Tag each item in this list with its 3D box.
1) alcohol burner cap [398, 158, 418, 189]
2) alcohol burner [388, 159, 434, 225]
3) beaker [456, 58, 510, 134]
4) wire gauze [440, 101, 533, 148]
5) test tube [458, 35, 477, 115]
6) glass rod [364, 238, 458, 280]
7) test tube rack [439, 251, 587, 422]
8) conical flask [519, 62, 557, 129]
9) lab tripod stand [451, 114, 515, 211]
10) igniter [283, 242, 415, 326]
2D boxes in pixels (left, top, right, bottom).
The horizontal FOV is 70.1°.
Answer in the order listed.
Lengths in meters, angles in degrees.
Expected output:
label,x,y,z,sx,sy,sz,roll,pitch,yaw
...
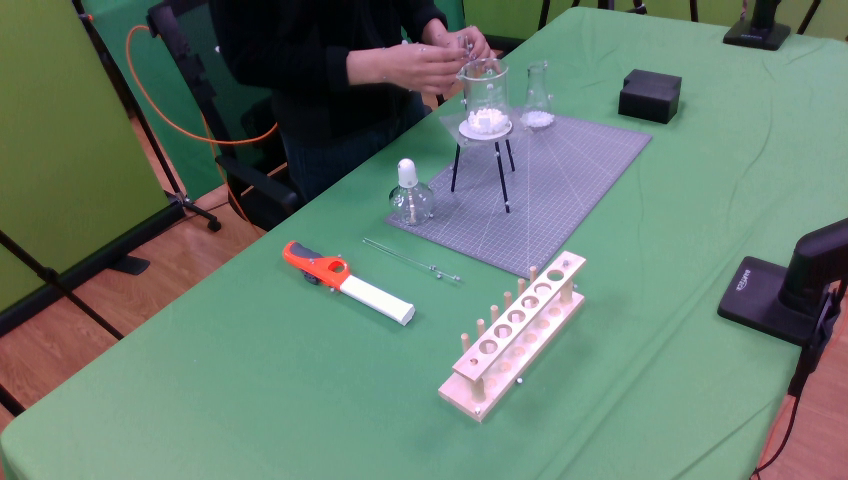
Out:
label,x,y,z,sx,sy,sz,roll,pitch,yaw
alcohol burner cap,-0.027,-0.111,0.989,0.034,0.048,0.033,-3,46,3
alcohol burner,-0.023,-0.084,1.013,0.078,0.119,0.077,-4,38,4
beaker,0.098,-0.226,0.964,0.084,0.101,0.073,-7,39,4
wire gauze,0.100,-0.189,0.995,0.125,0.011,0.120,-16,38,-6
test tube,0.078,-0.289,1.071,0.017,0.151,0.017,-7,41,7
glass rod,-0.026,0.029,0.966,0.198,0.008,0.008,21,49,35
test tube rack,0.118,0.111,0.780,0.066,0.085,0.243,26,51,35
conical flask,0.225,-0.288,1.198,0.075,0.122,0.075,-6,40,5
lab tripod stand,0.113,-0.140,1.037,0.148,0.132,0.147,-6,38,5
igniter,-0.126,0.062,0.931,0.274,0.025,0.057,24,61,33
